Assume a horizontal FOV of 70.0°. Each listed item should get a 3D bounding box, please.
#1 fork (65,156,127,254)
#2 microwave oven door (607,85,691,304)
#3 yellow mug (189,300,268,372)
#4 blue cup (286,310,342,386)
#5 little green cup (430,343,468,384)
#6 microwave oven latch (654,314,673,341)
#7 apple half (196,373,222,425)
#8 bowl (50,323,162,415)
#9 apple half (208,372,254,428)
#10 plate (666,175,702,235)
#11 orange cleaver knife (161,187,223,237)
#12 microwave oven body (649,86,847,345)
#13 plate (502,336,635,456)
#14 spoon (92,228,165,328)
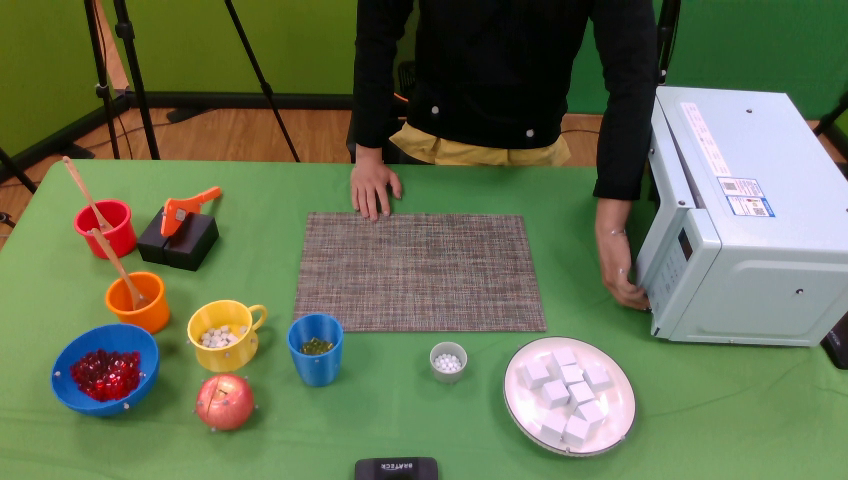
[{"bbox_3d":[-0.614,-0.064,1.130,0.028,0.018,0.207,-29,97,-16],"label":"fork"},{"bbox_3d":[0.413,-0.095,1.141,0.039,0.245,0.353,4,46,1],"label":"microwave oven door"},{"bbox_3d":[-0.316,0.149,1.002,0.131,0.064,0.099,-32,56,-31],"label":"yellow mug"},{"bbox_3d":[-0.169,0.179,0.958,0.093,0.101,0.092,1,45,-1],"label":"blue cup"},{"bbox_3d":[0.039,0.204,0.994,0.061,0.039,0.061,2,46,-2],"label":"little green cup"},{"bbox_3d":[0.419,0.137,1.058,0.030,0.029,0.079,15,46,13],"label":"microwave oven latch"},{"bbox_3d":[-0.322,0.239,0.907,0.033,0.081,0.081,7,46,-1],"label":"apple half"},{"bbox_3d":[-0.472,0.209,0.924,0.151,0.077,0.150,3,45,-2],"label":"bowl"},{"bbox_3d":[-0.282,0.243,0.908,0.053,0.075,0.080,7,43,-1],"label":"apple half"},{"bbox_3d":[0.555,-0.047,1.182,0.209,0.038,0.208,1,45,-1],"label":"plate"},{"bbox_3d":[-0.448,-0.058,1.181,0.012,0.077,0.211,13,17,6],"label":"orange cleaver knife"},{"bbox_3d":[0.568,-0.053,1.119,0.326,0.261,0.439,2,45,-1],"label":"microwave oven body"},{"bbox_3d":[0.225,0.248,0.963,0.208,0.039,0.206,2,46,-2],"label":"plate"},{"bbox_3d":[-0.496,0.062,1.014,0.041,0.194,0.021,-34,12,-32],"label":"spoon"}]
